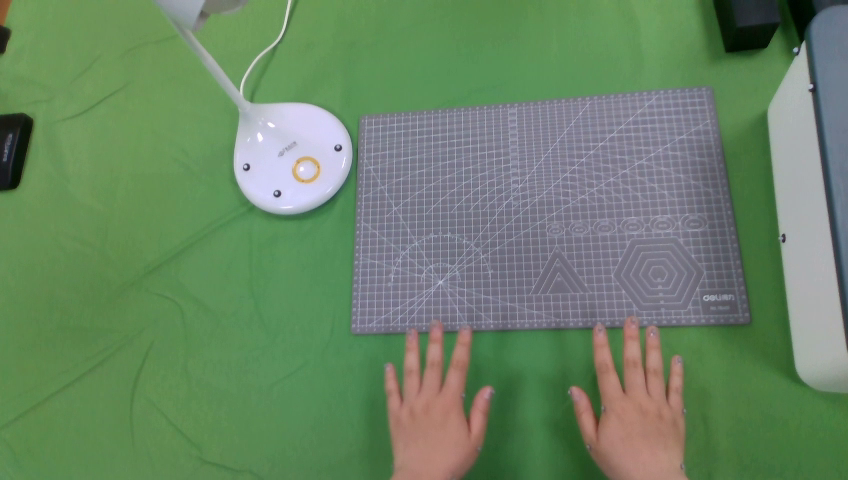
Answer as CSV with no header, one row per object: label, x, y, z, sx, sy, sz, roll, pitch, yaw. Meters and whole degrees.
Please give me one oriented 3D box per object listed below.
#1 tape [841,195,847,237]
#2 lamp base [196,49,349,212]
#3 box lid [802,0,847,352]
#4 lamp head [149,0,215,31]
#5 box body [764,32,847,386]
tape,0.512,-0.030,0.638,0.117,0.053,0.116,-3,72,8
lamp base,-0.200,-0.143,0.733,0.178,0.182,0.160,36,81,21
box lid,0.487,-0.062,0.521,0.263,0.015,0.369,1,73,10
lamp head,-0.198,-0.235,0.448,0.123,0.112,0.112,29,77,-17
box body,0.498,-0.036,0.590,0.254,0.161,0.362,1,72,10
